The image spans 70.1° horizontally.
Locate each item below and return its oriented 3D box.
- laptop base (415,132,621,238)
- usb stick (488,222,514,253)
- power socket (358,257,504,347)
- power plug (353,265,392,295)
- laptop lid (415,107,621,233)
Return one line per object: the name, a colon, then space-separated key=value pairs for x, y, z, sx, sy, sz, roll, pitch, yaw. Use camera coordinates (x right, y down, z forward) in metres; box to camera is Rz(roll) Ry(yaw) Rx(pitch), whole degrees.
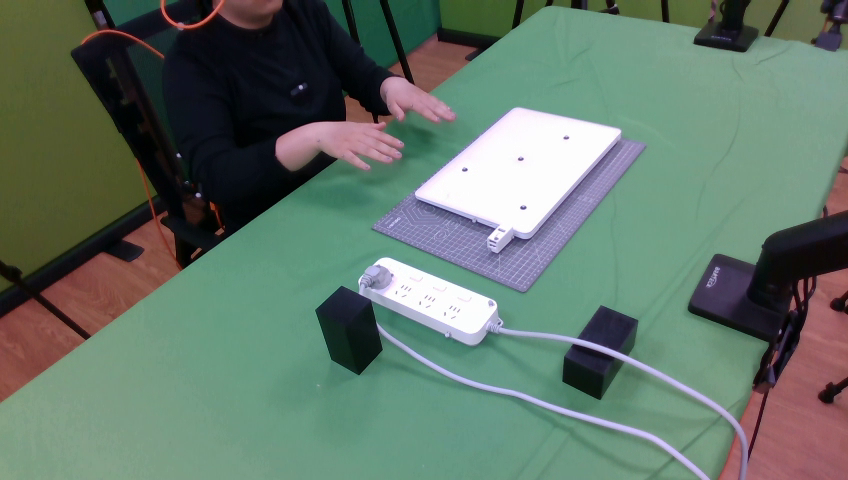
laptop base: x=0.178 y=-0.134 z=1.101 sx=0.233 sy=0.023 sz=0.355 roll=20 pitch=47 yaw=33
usb stick: x=0.124 y=-0.008 z=0.944 sx=0.021 sy=0.027 sz=0.059 roll=25 pitch=47 yaw=31
power socket: x=0.003 y=0.084 z=0.862 sx=0.225 sy=0.033 sz=0.072 roll=21 pitch=50 yaw=29
power plug: x=-0.078 y=0.064 z=0.867 sx=0.073 sy=0.053 sz=0.035 roll=-38 pitch=48 yaw=-26
laptop lid: x=0.175 y=-0.144 z=1.094 sx=0.239 sy=0.013 sz=0.358 roll=23 pitch=49 yaw=33
